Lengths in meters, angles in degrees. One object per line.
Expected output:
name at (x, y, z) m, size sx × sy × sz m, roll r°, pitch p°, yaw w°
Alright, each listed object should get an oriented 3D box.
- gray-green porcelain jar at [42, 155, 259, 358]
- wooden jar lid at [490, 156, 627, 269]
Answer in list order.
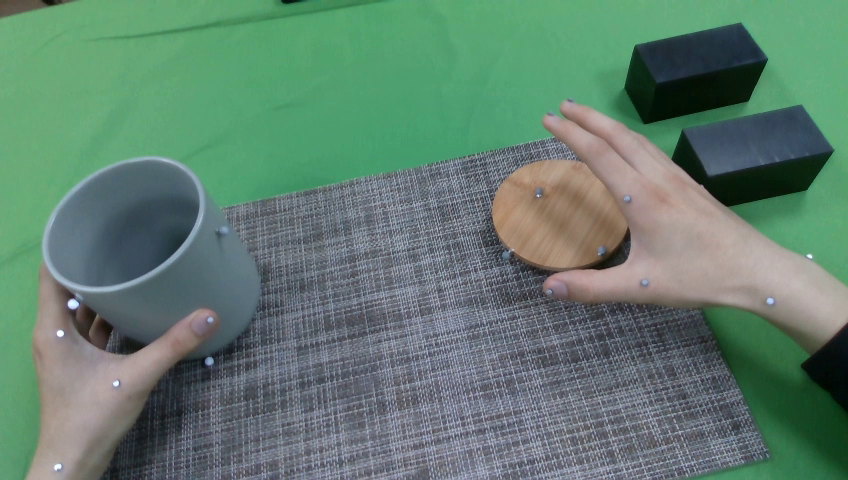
gray-green porcelain jar at (-0.184, 0.020, 0.436) m, size 0.106 × 0.127 × 0.105 m, roll -3°, pitch 57°, yaw 4°
wooden jar lid at (0.108, -0.021, 0.492) m, size 0.108 × 0.021 × 0.107 m, roll -3°, pitch 59°, yaw 5°
